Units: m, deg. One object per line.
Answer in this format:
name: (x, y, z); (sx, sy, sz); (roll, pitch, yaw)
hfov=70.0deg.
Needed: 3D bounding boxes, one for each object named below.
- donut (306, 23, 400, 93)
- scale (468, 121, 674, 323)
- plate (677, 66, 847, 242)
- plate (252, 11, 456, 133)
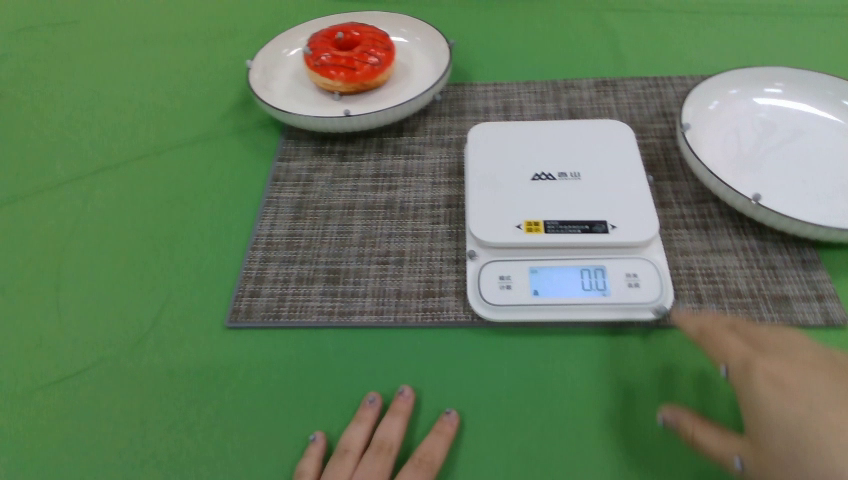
donut: (-0.073, -0.189, 0.631); (0.099, 0.049, 0.098); (-1, 47, 2)
scale: (0.110, -0.023, 0.490); (0.148, 0.032, 0.199); (-1, 50, 5)
plate: (0.320, -0.074, 0.514); (0.208, 0.039, 0.205); (-1, 50, 1)
plate: (-0.071, -0.173, 0.631); (0.209, 0.038, 0.207); (-3, 47, 3)
